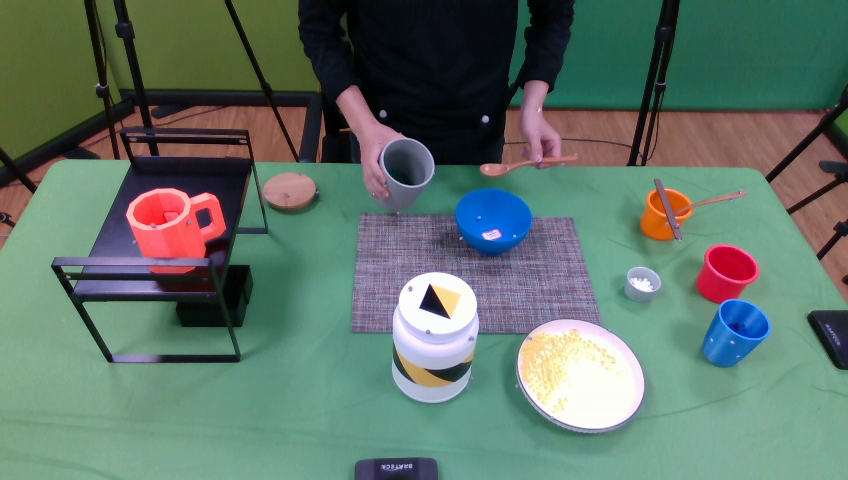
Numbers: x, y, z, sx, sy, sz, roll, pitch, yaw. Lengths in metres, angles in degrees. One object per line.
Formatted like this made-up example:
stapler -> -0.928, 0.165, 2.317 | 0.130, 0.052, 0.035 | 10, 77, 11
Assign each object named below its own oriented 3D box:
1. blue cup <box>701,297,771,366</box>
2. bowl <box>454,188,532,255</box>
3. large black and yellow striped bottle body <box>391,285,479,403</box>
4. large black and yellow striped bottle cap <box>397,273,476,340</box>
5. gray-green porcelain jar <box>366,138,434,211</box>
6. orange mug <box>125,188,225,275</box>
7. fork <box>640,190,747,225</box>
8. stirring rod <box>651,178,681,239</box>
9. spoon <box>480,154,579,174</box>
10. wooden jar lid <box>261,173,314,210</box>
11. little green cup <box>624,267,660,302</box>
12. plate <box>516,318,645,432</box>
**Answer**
blue cup -> 0.519, 0.162, 1.025 | 0.093, 0.101, 0.092 | 3, 45, -3
bowl -> 0.131, -0.025, 1.187 | 0.151, 0.077, 0.150 | 2, 46, -2
large black and yellow striped bottle body -> 0.015, 0.153, 0.938 | 0.131, 0.185, 0.130 | 2, 46, -2
large black and yellow striped bottle cap -> 0.018, 0.094, 0.878 | 0.115, 0.019, 0.114 | 3, 46, -3
gray-green porcelain jar -> -0.052, -0.122, 1.173 | 0.106, 0.126, 0.105 | 8, 67, -19
orange mug -> -0.357, -0.020, 0.884 | 0.126, 0.101, 0.083 | -29, 54, -23
fork -> 0.533, -0.065, 1.211 | 0.207, 0.019, 0.028 | -22, 28, 39
stirring rod -> 0.480, -0.065, 1.204 | 0.014, 0.006, 0.175 | 3, 46, -3
spoon -> 0.208, -0.154, 1.200 | 0.193, 0.022, 0.041 | -8, 37, 16
wooden jar lid -> -0.286, -0.101, 1.273 | 0.108, 0.021, 0.107 | 3, 45, -3
little green cup -> 0.406, 0.084, 1.135 | 0.061, 0.039, 0.061 | 3, 46, -3
plate -> 0.253, 0.221, 0.992 | 0.209, 0.038, 0.208 | 2, 46, -2
